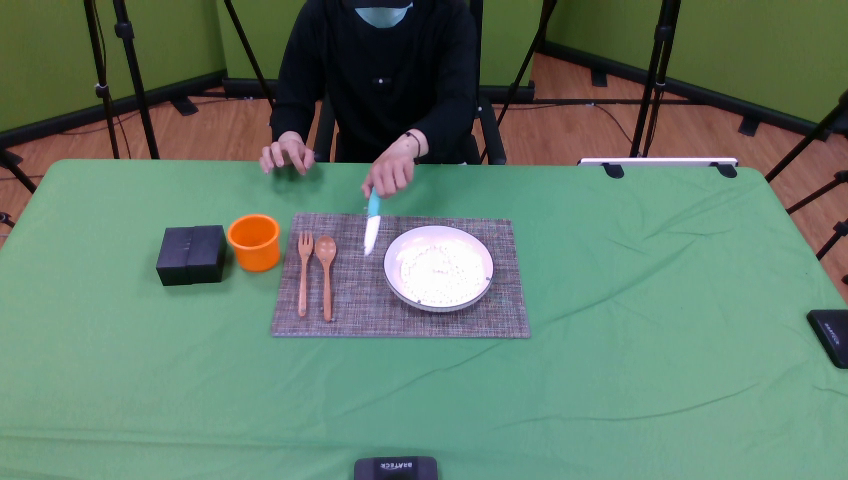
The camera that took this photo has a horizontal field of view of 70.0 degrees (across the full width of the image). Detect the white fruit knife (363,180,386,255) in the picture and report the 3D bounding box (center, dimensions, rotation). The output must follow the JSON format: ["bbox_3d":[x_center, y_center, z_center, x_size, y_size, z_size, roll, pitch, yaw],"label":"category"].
[{"bbox_3d":[-0.094,-0.045,1.118,0.027,0.016,0.206,5,43,0],"label":"white fruit knife"}]

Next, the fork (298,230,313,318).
[{"bbox_3d":[-0.222,0.058,1.121,0.028,0.019,0.206,2,44,-10],"label":"fork"}]

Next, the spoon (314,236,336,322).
[{"bbox_3d":[-0.180,0.068,1.111,0.042,0.022,0.192,9,43,-20],"label":"spoon"}]

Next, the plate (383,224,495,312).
[{"bbox_3d":[0.026,0.055,1.128,0.209,0.038,0.208,2,46,-2],"label":"plate"}]
